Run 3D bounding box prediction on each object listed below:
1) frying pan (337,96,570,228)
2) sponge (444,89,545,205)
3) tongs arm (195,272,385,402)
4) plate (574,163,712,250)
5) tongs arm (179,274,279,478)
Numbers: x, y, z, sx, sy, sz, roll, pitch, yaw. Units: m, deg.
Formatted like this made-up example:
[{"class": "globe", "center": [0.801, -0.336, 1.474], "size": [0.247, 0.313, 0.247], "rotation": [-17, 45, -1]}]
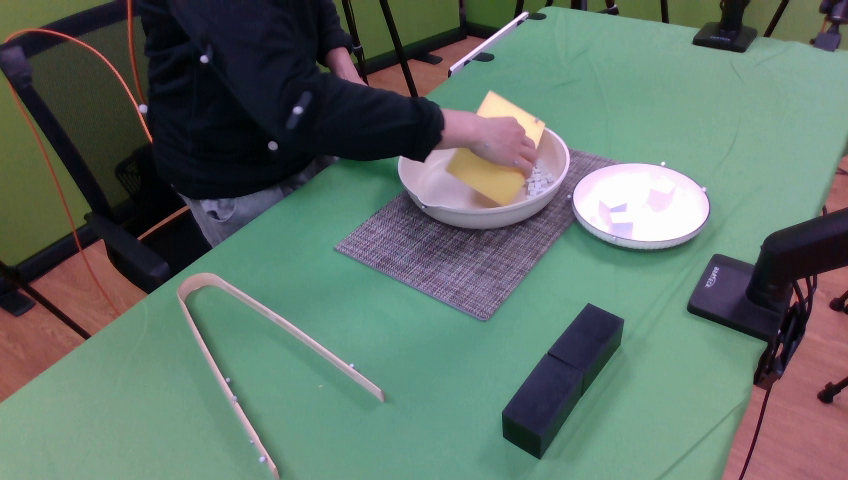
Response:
[{"class": "frying pan", "center": [0.023, -0.167, 1.090], "size": [0.484, 0.103, 0.308], "rotation": [32, 53, 26]}, {"class": "sponge", "center": [0.123, -0.160, 1.010], "size": [0.118, 0.061, 0.206], "rotation": [31, 41, -3]}, {"class": "tongs arm", "center": [-0.198, 0.125, 0.847], "size": [0.384, 0.028, 0.028], "rotation": [25, 52, 32]}, {"class": "plate", "center": [0.344, -0.050, 0.966], "size": [0.207, 0.039, 0.206], "rotation": [-4, 40, 4]}, {"class": "tongs arm", "center": [-0.260, 0.161, 0.807], "size": [0.051, 0.026, 0.381], "rotation": [-28, 44, -25]}]
